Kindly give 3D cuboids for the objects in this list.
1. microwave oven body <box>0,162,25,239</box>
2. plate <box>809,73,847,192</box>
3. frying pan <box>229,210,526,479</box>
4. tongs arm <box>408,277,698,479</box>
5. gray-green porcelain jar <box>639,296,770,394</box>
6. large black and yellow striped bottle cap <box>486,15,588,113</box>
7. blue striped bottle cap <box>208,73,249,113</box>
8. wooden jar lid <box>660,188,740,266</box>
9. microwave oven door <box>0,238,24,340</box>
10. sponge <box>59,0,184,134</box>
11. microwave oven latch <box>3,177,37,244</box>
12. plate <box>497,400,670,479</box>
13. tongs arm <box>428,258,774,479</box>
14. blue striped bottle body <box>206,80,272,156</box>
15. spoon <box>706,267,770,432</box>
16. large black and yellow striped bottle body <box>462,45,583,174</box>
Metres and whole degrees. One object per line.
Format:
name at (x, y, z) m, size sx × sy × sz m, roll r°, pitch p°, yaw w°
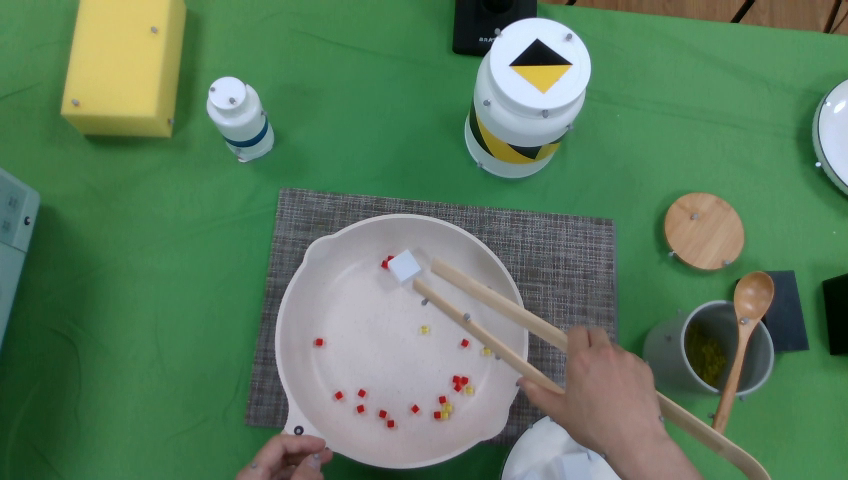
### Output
microwave oven body at (-0.655, 0.092, 0.591) m, size 0.326 × 0.261 × 0.439 m, roll 6°, pitch 75°, yaw -2°
plate at (0.645, -0.142, 0.858) m, size 0.209 × 0.038 × 0.208 m, roll 1°, pitch 75°, yaw -3°
frying pan at (-0.100, 0.176, 0.687) m, size 0.487 × 0.103 × 0.305 m, roll -41°, pitch 80°, yaw -21°
tongs arm at (0.144, 0.138, 0.585) m, size 0.382 × 0.027 × 0.050 m, roll 36°, pitch 54°, yaw 21°
gray-green porcelain jar at (0.323, 0.129, 0.719) m, size 0.106 × 0.127 × 0.105 m, roll 1°, pitch 74°, yaw -3°
large black and yellow striped bottle cap at (0.127, -0.198, 0.678) m, size 0.115 × 0.019 × 0.114 m, roll 1°, pitch 76°, yaw -3°
blue striped bottle cap at (-0.231, -0.174, 0.714) m, size 0.044 × 0.021 × 0.044 m, roll 1°, pitch 76°, yaw -3°
wooden jar lid at (0.370, -0.016, 0.817) m, size 0.108 × 0.021 × 0.108 m, roll 1°, pitch 76°, yaw -3°
microwave oven door at (-0.513, 0.145, 0.581) m, size 0.039 × 0.245 × 0.354 m, roll 5°, pitch 74°, yaw -1°
sponge at (-0.398, -0.250, 0.808) m, size 0.118 × 0.061 × 0.205 m, roll 0°, pitch 75°, yaw -4°
microwave oven latch at (-0.498, -0.037, 0.736) m, size 0.030 × 0.029 × 0.079 m, roll 8°, pitch 75°, yaw -2°
plate at (0.186, 0.293, 0.710) m, size 0.208 × 0.039 × 0.206 m, roll 1°, pitch 76°, yaw -4°
tongs arm at (0.158, 0.125, 0.599) m, size 0.385 × 0.028 × 0.028 m, roll 32°, pitch 49°, yaw 19°
blue striped bottle body at (-0.233, -0.159, 0.763) m, size 0.063 × 0.121 × 0.062 m, roll 1°, pitch 74°, yaw -3°
spoon at (0.331, 0.120, 0.650) m, size 0.041 × 0.022 × 0.193 m, roll 21°, pitch 78°, yaw -1°
large black and yellow striped bottle body at (0.121, -0.174, 0.759) m, size 0.131 × 0.185 × 0.130 m, roll 1°, pitch 74°, yaw -3°
